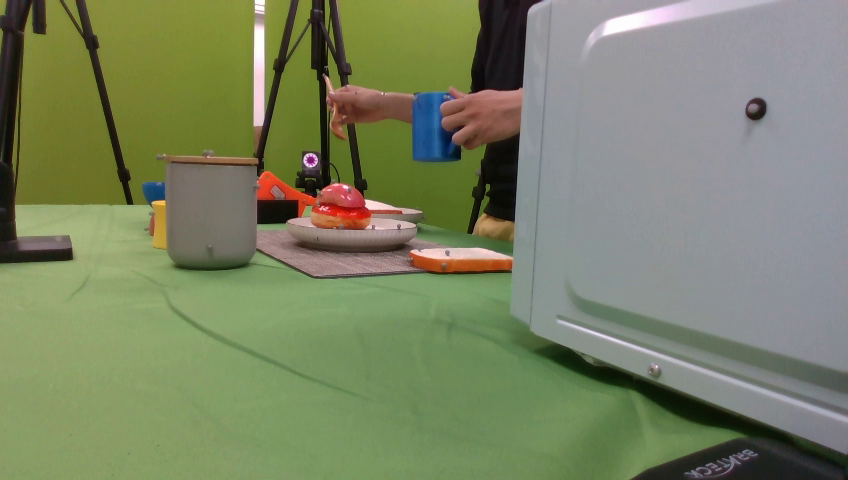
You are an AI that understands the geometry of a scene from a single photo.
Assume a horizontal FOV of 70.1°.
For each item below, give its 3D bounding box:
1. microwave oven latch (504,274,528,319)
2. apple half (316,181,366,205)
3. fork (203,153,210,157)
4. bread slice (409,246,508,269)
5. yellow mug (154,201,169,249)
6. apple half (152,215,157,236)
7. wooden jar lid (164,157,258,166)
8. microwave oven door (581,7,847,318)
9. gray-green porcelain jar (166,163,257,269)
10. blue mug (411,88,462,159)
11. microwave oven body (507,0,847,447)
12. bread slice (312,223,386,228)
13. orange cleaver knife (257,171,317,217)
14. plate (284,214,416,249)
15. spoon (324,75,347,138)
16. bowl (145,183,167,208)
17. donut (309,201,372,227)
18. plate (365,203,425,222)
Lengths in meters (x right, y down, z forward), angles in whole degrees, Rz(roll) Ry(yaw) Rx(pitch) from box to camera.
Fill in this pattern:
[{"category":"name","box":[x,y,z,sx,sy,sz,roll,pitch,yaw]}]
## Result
[{"category":"microwave oven latch","box":[0.100,0.041,0.471,0.079,0.029,0.030,-1,7,-28]},{"category":"apple half","box":[-0.128,-0.076,0.954,0.081,0.033,0.081,7,12,-1]},{"category":"fork","box":[-0.480,-0.135,1.411,0.028,0.018,0.207,1,-34,0]},{"category":"bread slice","box":[0.048,0.021,0.816,0.132,0.019,0.104,0,7,-24]},{"category":"yellow mug","box":[-0.337,-0.022,0.899,0.130,0.064,0.100,8,9,34]},{"category":"apple half","box":[-0.415,-0.034,1.017,0.081,0.053,0.074,1,10,-9]},{"category":"wooden jar lid","box":[-0.261,-0.093,0.746,0.108,0.020,0.108,0,9,0]},{"category":"microwave oven door","box":[0.295,-0.067,0.569,0.358,0.243,0.039,-3,8,-31]},{"category":"gray-green porcelain jar","box":[-0.263,-0.031,0.754,0.106,0.126,0.106,2,7,0]},{"category":"blue mug","box":[0.028,-0.190,0.989,0.083,0.106,0.116,-2,3,-27]},{"category":"microwave oven body","box":[0.331,-0.042,0.425,0.444,0.260,0.324,-2,8,-31]},{"category":"bread slice","box":[-0.120,-0.014,0.970,0.106,0.018,0.135,9,10,41]},{"category":"orange cleaver knife","box":[-0.283,-0.087,1.343,0.212,0.077,0.012,24,-16,-41]},{"category":"plate","box":[-0.117,-0.014,0.967,0.208,0.039,0.207,2,8,0]},{"category":"spoon","box":[-0.186,-0.279,1.254,0.021,0.193,0.042,-35,-39,29]},{"category":"bowl","box":[-0.459,-0.069,1.175,0.151,0.077,0.151,2,7,0]},{"category":"donut","box":[-0.132,-0.042,0.959,0.099,0.048,0.099,2,8,0]},{"category":"plate","box":[-0.102,-0.053,1.299,0.209,0.038,0.209,2,8,0]}]
